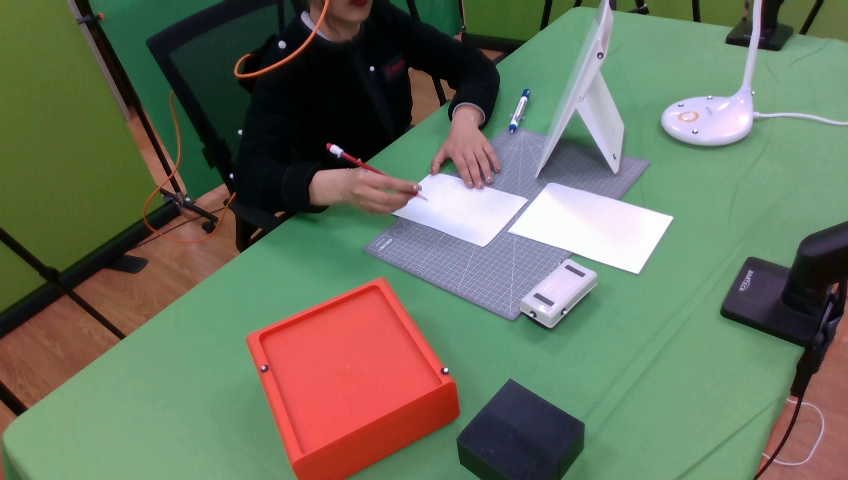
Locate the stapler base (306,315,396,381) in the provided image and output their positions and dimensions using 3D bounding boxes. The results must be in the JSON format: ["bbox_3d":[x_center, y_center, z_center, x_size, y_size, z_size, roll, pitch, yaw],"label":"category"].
[{"bbox_3d":[-0.101,0.139,0.819,0.131,0.024,0.041,-31,37,-13],"label":"stapler base"}]

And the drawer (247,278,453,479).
[{"bbox_3d":[-0.096,0.167,0.758,0.195,0.073,0.210,-22,43,-16],"label":"drawer"}]

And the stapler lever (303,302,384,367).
[{"bbox_3d":[-0.108,0.123,0.805,0.118,0.040,0.026,-27,36,-15],"label":"stapler lever"}]

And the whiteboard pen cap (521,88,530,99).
[{"bbox_3d":[0.218,-0.312,1.301,0.018,0.018,0.033,6,46,18],"label":"whiteboard pen cap"}]

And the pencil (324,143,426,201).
[{"bbox_3d":[-0.077,-0.105,0.937,0.193,0.012,0.012,30,52,15],"label":"pencil"}]

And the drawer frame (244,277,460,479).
[{"bbox_3d":[-0.093,0.167,0.755,0.202,0.083,0.211,-23,43,-17],"label":"drawer frame"}]

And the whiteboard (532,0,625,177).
[{"bbox_3d":[0.321,-0.258,1.050,0.144,0.306,0.217,21,45,5],"label":"whiteboard"}]

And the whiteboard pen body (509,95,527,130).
[{"bbox_3d":[0.199,-0.273,1.261,0.017,0.017,0.140,8,44,19],"label":"whiteboard pen body"}]

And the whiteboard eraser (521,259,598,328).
[{"bbox_3d":[0.189,0.076,0.843,0.055,0.042,0.113,29,53,37],"label":"whiteboard eraser"}]

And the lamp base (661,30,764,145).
[{"bbox_3d":[0.535,-0.287,1.096,0.179,0.181,0.159,-10,40,-4],"label":"lamp base"}]
